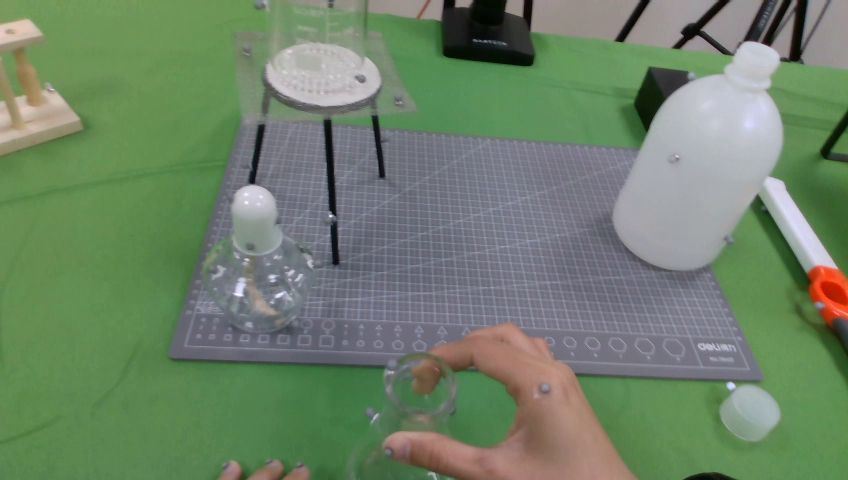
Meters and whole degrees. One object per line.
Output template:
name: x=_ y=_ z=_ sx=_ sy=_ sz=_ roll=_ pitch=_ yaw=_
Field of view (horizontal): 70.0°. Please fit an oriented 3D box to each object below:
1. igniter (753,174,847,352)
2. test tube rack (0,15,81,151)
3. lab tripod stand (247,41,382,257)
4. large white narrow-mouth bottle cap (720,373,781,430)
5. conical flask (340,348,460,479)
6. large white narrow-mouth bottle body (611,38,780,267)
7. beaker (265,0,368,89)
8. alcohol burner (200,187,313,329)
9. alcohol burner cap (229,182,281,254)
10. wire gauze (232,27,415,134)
igniter: x=0.364 y=0.033 z=0.552 sx=0.057 sy=0.025 sz=0.273 roll=12 pitch=44 yaw=-13
test tube rack: x=-0.434 y=-0.107 z=0.503 sx=0.242 sy=0.086 sz=0.066 roll=-30 pitch=57 yaw=-33
lab tripod stand: x=-0.084 y=-0.081 z=0.503 sx=0.149 sy=0.132 sz=0.147 roll=7 pitch=46 yaw=-6
large white narrow-mouth bottle cap: x=0.242 y=0.120 z=0.450 sx=0.038 sy=0.024 sz=0.037 roll=5 pitch=45 yaw=-5
conical flask: x=-0.009 y=0.110 z=0.341 sx=0.075 sy=0.123 sz=0.074 roll=5 pitch=46 yaw=-5
large white narrow-mouth bottle body: x=0.234 y=-0.073 z=0.511 sx=0.102 sy=0.196 sz=0.101 roll=5 pitch=45 yaw=-4
beaker: x=-0.078 y=-0.165 z=0.425 sx=0.084 sy=0.101 sz=0.073 roll=-1 pitch=48 yaw=-11
alcohol burner: x=-0.117 y=0.007 z=0.425 sx=0.078 sy=0.120 sz=0.077 roll=7 pitch=44 yaw=-6
alcohol burner cap: x=-0.112 y=-0.017 z=0.398 sx=0.034 sy=0.048 sz=0.033 roll=5 pitch=51 yaw=-5
wire gauze: x=-0.079 y=-0.128 z=0.458 sx=0.122 sy=0.011 sz=0.123 roll=-8 pitch=52 yaw=-15
